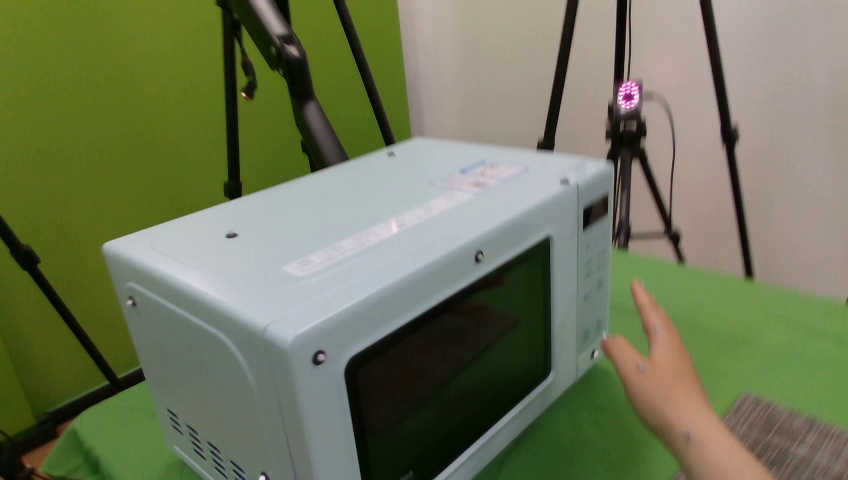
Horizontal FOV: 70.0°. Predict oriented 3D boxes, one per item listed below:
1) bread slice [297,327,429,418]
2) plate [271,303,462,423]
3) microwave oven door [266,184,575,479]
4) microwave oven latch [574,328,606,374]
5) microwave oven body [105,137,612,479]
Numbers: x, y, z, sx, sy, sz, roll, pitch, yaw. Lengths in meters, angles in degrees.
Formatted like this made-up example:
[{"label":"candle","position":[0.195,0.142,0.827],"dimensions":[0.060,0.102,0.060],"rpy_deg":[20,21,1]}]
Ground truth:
[{"label":"bread slice","position":[-0.063,0.137,0.671],"dimensions":[0.132,0.019,0.104],"rpy_deg":[-23,29,-31]},{"label":"plate","position":[-0.061,0.134,0.666],"dimensions":[0.209,0.038,0.207],"rpy_deg":[-5,22,3]},{"label":"microwave oven door","position":[0.033,0.111,0.550],"dimensions":[0.039,0.245,0.356],"rpy_deg":[15,30,40]},{"label":"microwave oven latch","position":[0.192,0.132,0.734],"dimensions":[0.030,0.030,0.079],"rpy_deg":[17,32,42]},{"label":"microwave oven body","position":[-0.045,0.073,0.675],"dimensions":[0.323,0.262,0.442],"rpy_deg":[16,31,40]}]
